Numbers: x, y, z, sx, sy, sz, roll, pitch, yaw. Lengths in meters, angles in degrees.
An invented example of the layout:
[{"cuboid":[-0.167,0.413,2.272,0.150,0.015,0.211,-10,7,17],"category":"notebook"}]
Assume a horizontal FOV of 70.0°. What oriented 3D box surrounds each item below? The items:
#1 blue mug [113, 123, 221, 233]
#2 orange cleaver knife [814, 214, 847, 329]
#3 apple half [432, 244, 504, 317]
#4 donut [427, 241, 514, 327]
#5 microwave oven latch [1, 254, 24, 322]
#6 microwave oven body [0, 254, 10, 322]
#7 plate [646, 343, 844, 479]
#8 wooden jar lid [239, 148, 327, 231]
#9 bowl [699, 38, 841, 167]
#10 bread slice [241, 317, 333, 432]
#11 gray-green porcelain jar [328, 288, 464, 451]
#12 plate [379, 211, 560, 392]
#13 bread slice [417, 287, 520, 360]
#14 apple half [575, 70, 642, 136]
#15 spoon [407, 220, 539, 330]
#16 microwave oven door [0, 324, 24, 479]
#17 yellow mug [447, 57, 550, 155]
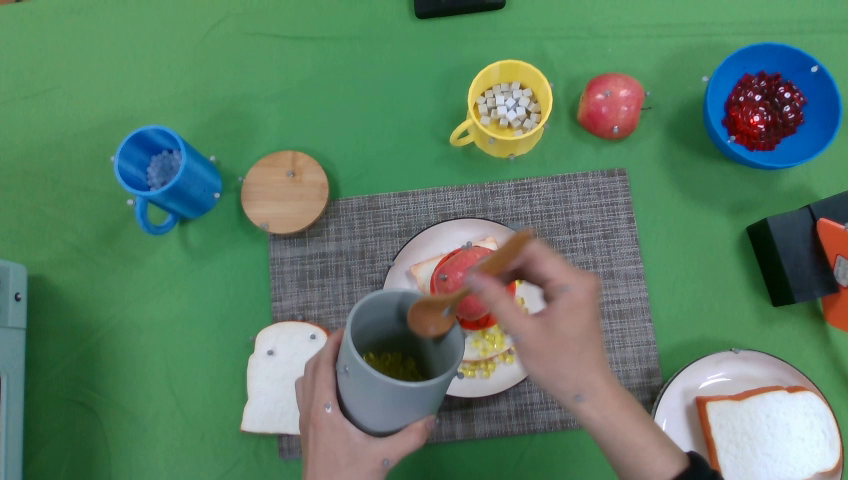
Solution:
[{"cuboid":[-0.305,-0.065,0.716,0.082,0.106,0.116,14,80,5],"category":"blue mug"},{"cuboid":[0.469,0.074,0.671,0.012,0.077,0.212,-17,101,-7],"category":"orange cleaver knife"},{"cuboid":[0.048,0.042,0.647,0.081,0.033,0.081,-2,78,9],"category":"apple half"},{"cuboid":[0.053,0.049,0.682,0.099,0.048,0.098,0,80,3],"category":"donut"},{"cuboid":[-0.496,0.057,0.716,0.030,0.029,0.079,-2,80,2],"category":"microwave oven latch"},{"cuboid":[-0.630,0.227,0.593,0.326,0.261,0.439,-6,80,1],"category":"microwave oven body"},{"cuboid":[0.348,0.220,0.671,0.209,0.038,0.208,0,79,3],"category":"plate"},{"cuboid":[-0.172,-0.061,0.750,0.108,0.021,0.108,-1,77,3],"category":"wooden jar lid"},{"cuboid":[0.392,-0.150,0.716,0.151,0.077,0.151,0,80,3],"category":"bowl"},{"cuboid":[-0.159,0.156,0.711,0.105,0.019,0.131,1,81,2],"category":"bread slice"},{"cuboid":[-0.031,0.124,0.559,0.106,0.127,0.105,11,42,-10],"category":"gray-green porcelain jar"},{"cuboid":[0.051,0.071,0.707,0.207,0.039,0.207,0,80,2],"category":"plate"},{"cuboid":[0.054,0.074,0.720,0.107,0.018,0.133,-24,69,-5],"category":"bread slice"},{"cuboid":[0.227,-0.174,0.741,0.074,0.053,0.080,16,81,8],"category":"apple half"},{"cuboid":[0.035,0.033,0.475,0.042,0.194,0.021,33,58,-8],"category":"spoon"},{"cuboid":[-0.482,0.253,0.577,0.039,0.245,0.354,-6,79,2],"category":"microwave oven door"},{"cuboid":[0.086,-0.154,0.736,0.131,0.064,0.099,-30,80,-2],"category":"yellow mug"}]
